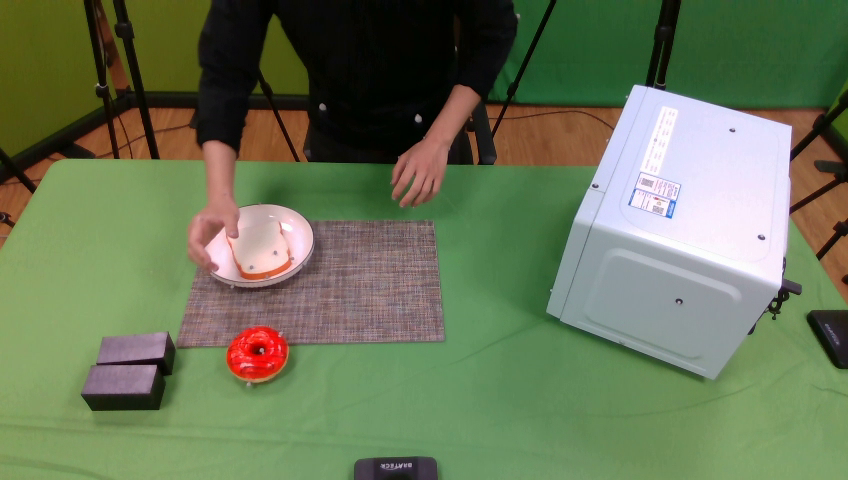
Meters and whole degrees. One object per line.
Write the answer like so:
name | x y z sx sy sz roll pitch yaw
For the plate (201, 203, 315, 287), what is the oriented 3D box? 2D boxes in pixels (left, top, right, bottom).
plate | -0.310 0.012 1.145 0.208 0.039 0.206 2 46 -2

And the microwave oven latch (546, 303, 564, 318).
microwave oven latch | 0.242 0.102 1.081 0.030 0.029 0.079 22 48 17

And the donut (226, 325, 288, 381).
donut | -0.270 0.182 0.984 0.099 0.048 0.098 4 48 -5

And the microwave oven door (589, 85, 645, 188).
microwave oven door | 0.342 -0.107 1.149 0.039 0.245 0.354 20 48 15

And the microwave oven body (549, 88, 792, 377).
microwave oven body | 0.456 -0.028 1.087 0.325 0.261 0.440 20 47 16

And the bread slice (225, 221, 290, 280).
bread slice | -0.308 0.019 1.141 0.105 0.019 0.130 -17 49 -19
